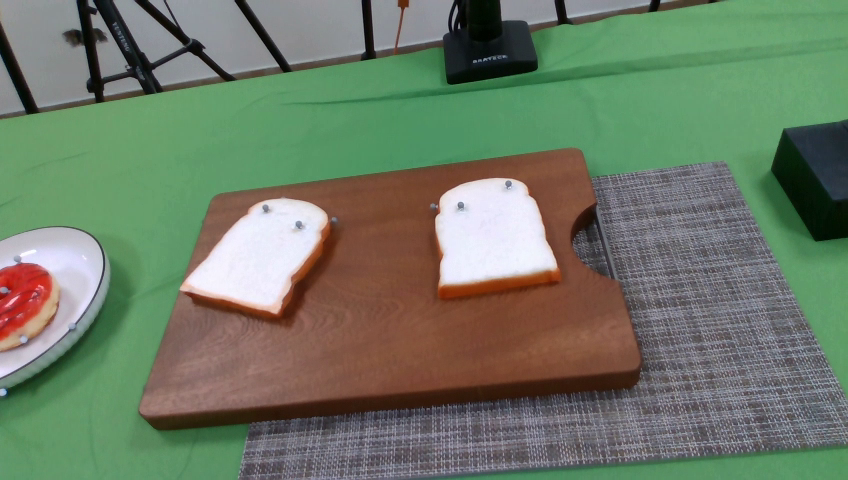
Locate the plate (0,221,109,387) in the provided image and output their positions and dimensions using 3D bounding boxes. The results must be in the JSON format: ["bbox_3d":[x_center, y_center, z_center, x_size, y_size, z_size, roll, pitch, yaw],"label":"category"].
[{"bbox_3d":[-0.415,0.067,0.607,0.209,0.038,0.207,-6,47,7],"label":"plate"}]

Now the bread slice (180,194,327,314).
[{"bbox_3d":[-0.154,0.008,0.580,0.106,0.018,0.133,8,51,19],"label":"bread slice"}]

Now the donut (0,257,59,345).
[{"bbox_3d":[-0.412,0.060,0.598,0.099,0.049,0.098,-7,48,9],"label":"donut"}]

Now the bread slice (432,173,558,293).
[{"bbox_3d":[0.056,-0.012,0.553,0.105,0.019,0.130,-9,48,2],"label":"bread slice"}]
